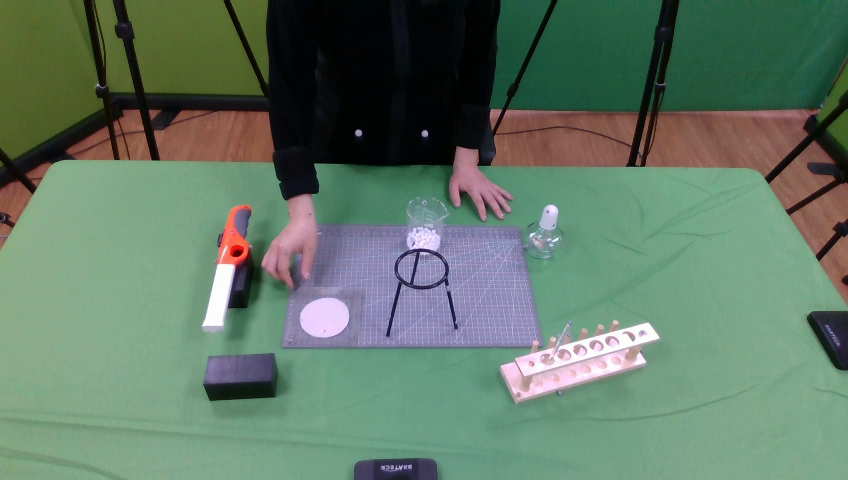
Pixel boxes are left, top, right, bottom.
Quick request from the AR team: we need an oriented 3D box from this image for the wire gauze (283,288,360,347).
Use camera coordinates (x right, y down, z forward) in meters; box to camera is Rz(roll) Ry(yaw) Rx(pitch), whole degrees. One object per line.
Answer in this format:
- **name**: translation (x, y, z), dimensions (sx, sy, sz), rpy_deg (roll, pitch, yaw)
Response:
- **wire gauze**: translation (-0.178, 0.132, 1.063), dimensions (0.125, 0.011, 0.120), rpy_deg (2, 46, 1)

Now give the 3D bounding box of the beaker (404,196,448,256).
- **beaker**: translation (0.001, -0.024, 1.164), dimensions (0.084, 0.101, 0.073), rpy_deg (6, 46, 0)

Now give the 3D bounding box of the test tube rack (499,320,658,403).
- **test tube rack**: translation (0.252, 0.187, 0.994), dimensions (0.243, 0.085, 0.066), rpy_deg (-12, 48, -15)

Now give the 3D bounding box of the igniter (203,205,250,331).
- **igniter**: translation (-0.345, 0.039, 1.065), dimensions (0.057, 0.025, 0.274), rpy_deg (2, 48, -6)

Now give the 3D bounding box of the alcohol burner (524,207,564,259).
- **alcohol burner**: translation (0.236, -0.020, 1.174), dimensions (0.078, 0.120, 0.077), rpy_deg (2, 48, -2)

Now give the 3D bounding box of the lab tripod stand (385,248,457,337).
- **lab tripod stand**: translation (-0.010, 0.087, 1.032), dimensions (0.148, 0.132, 0.147), rpy_deg (1, 45, -1)

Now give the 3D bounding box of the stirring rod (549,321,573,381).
- **stirring rod**: translation (0.202, 0.168, 0.901), dimensions (0.006, 0.177, 0.014), rpy_deg (-17, 55, -11)

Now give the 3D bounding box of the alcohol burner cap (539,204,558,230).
- **alcohol burner cap**: translation (0.238, -0.045, 1.148), dimensions (0.034, 0.048, 0.033), rpy_deg (2, 42, -1)
